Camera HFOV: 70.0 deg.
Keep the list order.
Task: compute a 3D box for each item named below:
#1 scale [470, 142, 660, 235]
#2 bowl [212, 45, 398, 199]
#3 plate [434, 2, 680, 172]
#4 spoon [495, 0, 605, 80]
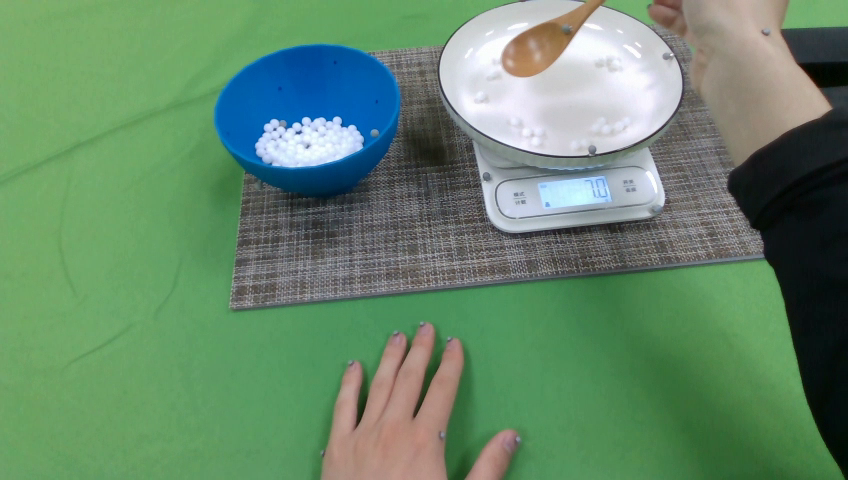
[{"bbox_3d":[0.115,-0.096,0.544,0.149,0.032,0.199,-6,55,-1],"label":"scale"},{"bbox_3d":[-0.094,-0.088,0.519,0.151,0.077,0.150,-1,54,2],"label":"bowl"},{"bbox_3d":[0.112,-0.134,0.531,0.209,0.038,0.207,-1,54,1],"label":"plate"},{"bbox_3d":[0.136,-0.182,0.453,0.193,0.022,0.041,-31,65,31],"label":"spoon"}]
